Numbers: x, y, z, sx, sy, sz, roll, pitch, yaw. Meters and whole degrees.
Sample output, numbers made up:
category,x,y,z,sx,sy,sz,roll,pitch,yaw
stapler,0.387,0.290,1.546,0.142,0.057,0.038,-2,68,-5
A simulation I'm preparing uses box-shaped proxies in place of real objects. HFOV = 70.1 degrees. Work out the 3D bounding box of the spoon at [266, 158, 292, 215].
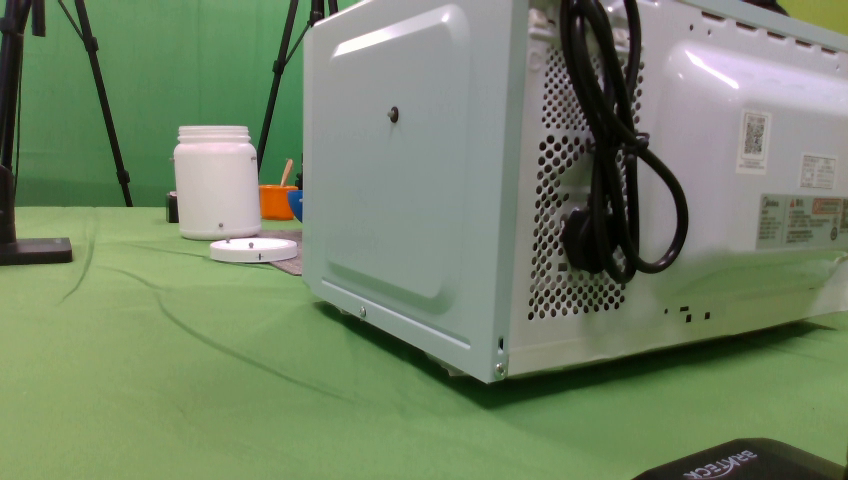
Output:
category,x,y,z,sx,sy,sz,roll,pitch,yaw
spoon,-0.334,-0.127,1.423,0.041,0.193,0.022,0,-37,7

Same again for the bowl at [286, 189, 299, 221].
category,x,y,z,sx,sy,sz,roll,pitch,yaw
bowl,-0.179,-0.051,1.115,0.151,0.077,0.151,3,8,0

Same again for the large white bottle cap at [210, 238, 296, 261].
category,x,y,z,sx,sy,sz,roll,pitch,yaw
large white bottle cap,-0.236,0.012,0.839,0.115,0.018,0.115,1,7,0

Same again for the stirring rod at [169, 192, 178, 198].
category,x,y,z,sx,sy,sz,roll,pitch,yaw
stirring rod,-0.465,-0.098,1.283,0.014,0.006,0.177,42,21,17

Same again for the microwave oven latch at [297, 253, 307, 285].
category,x,y,z,sx,sy,sz,roll,pitch,yaw
microwave oven latch,-0.082,0.027,0.583,0.079,0.029,0.030,-1,7,-33

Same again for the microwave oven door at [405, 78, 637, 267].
category,x,y,z,sx,sy,sz,roll,pitch,yaw
microwave oven door,0.121,-0.103,0.881,0.354,0.243,0.039,8,9,37

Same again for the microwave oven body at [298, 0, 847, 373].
category,x,y,z,sx,sy,sz,roll,pitch,yaw
microwave oven body,0.151,-0.055,0.543,0.444,0.260,0.324,-1,7,-33

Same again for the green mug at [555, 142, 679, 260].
category,x,y,z,sx,sy,sz,roll,pitch,yaw
green mug,0.181,-0.037,0.583,0.093,0.105,0.124,-2,5,-44

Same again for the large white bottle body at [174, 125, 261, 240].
category,x,y,z,sx,sy,sz,roll,pitch,yaw
large white bottle body,-0.349,-0.100,1.025,0.131,0.184,0.130,-1,9,0
